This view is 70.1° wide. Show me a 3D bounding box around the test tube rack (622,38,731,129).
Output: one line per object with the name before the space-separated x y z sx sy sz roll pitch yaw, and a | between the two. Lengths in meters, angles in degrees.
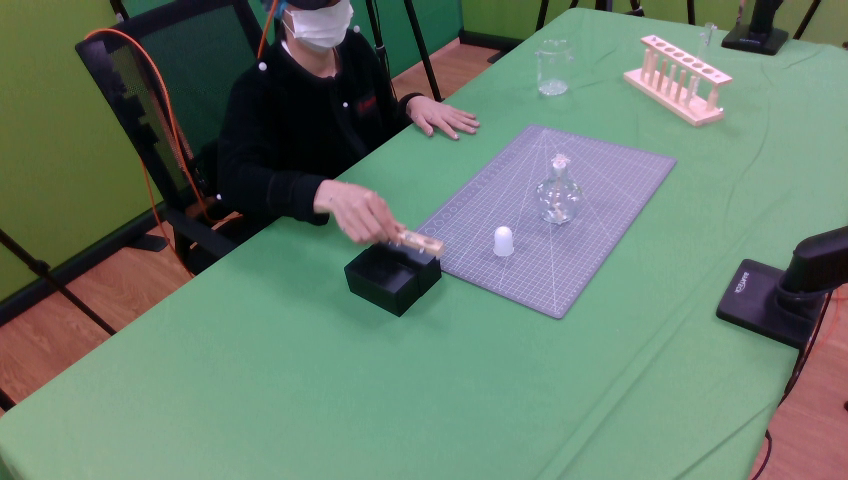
test tube rack | 0.506 -0.325 1.234 0.067 0.085 0.240 -18 41 -11

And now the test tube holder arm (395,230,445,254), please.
test tube holder arm | -0.008 0.003 0.869 0.087 0.015 0.010 17 38 31

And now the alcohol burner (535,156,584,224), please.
alcohol burner | 0.217 -0.085 0.967 0.078 0.119 0.077 -3 41 3

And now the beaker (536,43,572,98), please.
beaker | 0.280 -0.368 1.311 0.074 0.101 0.084 4 41 14

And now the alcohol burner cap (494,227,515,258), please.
alcohol burner cap | 0.124 0.001 0.936 0.034 0.048 0.033 -4 40 4

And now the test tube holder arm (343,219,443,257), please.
test tube holder arm | -0.049 -0.005 0.888 0.177 0.015 0.013 15 38 29

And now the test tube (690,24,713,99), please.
test tube | 0.534 -0.342 1.173 0.017 0.151 0.017 -3 41 3
